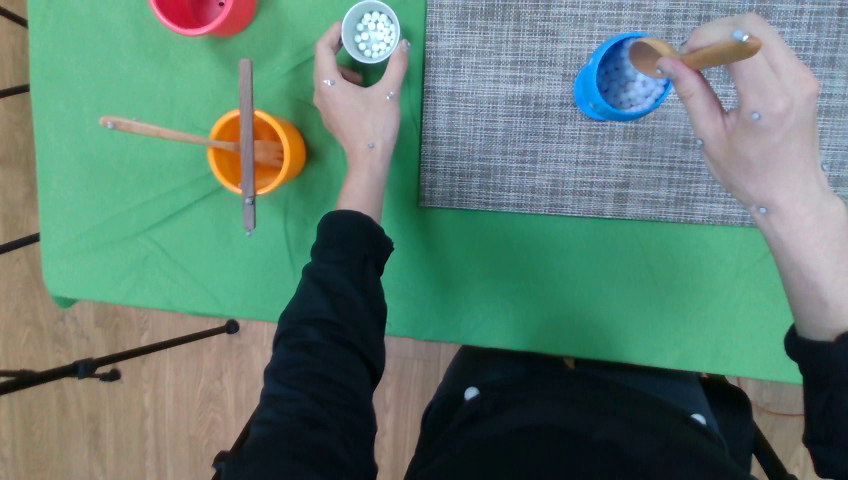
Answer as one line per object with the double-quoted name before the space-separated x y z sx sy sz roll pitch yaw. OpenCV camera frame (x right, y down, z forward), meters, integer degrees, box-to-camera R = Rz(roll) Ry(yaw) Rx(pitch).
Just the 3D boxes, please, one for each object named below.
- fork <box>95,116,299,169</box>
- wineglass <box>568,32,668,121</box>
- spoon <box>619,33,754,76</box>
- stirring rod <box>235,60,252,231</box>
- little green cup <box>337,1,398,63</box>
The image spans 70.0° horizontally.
"fork" -0.230 -0.103 0.640 0.209 0.018 0.028 6 113 -37
"wineglass" 0.172 -0.146 0.558 0.073 0.172 0.074 2 101 8
"spoon" 0.165 -0.119 0.395 0.042 0.193 0.021 38 106 -8
"stirring rod" -0.188 -0.097 0.633 0.014 0.006 0.176 4 101 8
"little green cup" -0.057 -0.215 0.636 0.061 0.038 0.062 2 101 10
